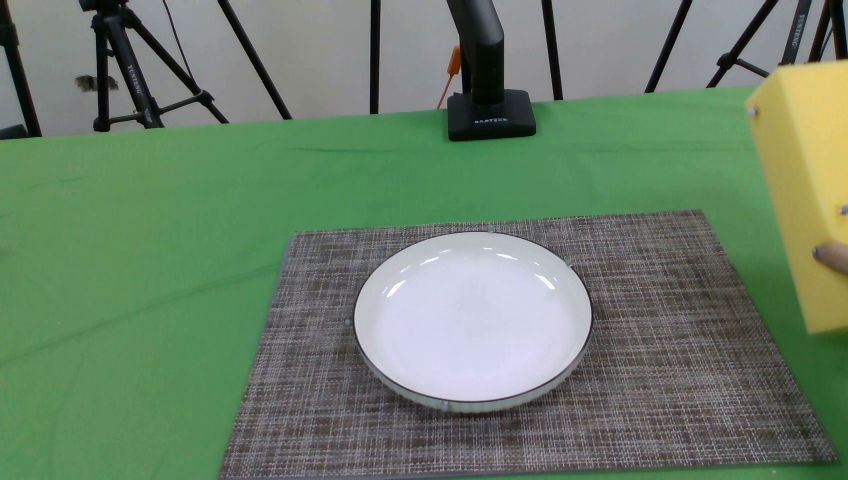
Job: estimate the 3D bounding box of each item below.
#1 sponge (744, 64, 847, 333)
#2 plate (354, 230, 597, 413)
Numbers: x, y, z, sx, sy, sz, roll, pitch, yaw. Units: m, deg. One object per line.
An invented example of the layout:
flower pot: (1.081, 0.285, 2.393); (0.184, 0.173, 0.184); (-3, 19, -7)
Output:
sponge: (0.352, -0.036, 0.483); (0.118, 0.061, 0.205); (-7, 73, -1)
plate: (0.044, 0.069, 0.534); (0.207, 0.039, 0.205); (-4, 39, 3)
